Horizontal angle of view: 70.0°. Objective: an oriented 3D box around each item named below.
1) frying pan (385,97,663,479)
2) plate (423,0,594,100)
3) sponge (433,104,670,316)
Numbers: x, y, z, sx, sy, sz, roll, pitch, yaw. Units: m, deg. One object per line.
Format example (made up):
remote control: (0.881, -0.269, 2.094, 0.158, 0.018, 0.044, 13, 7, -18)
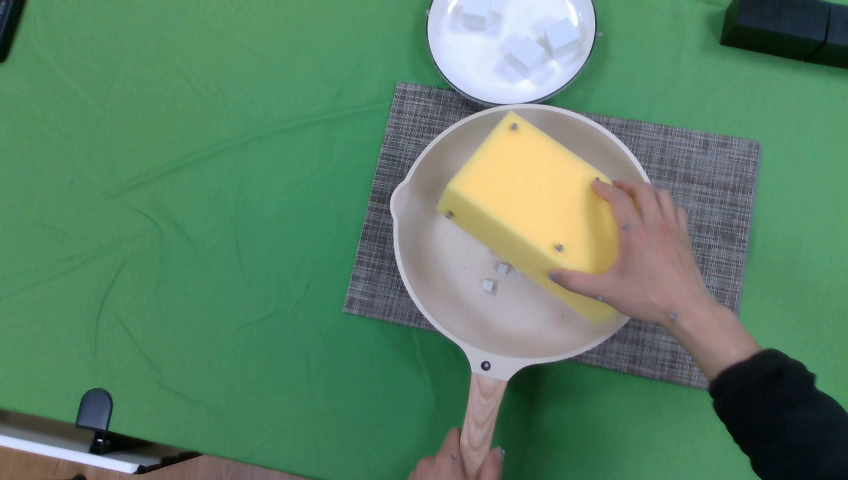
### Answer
frying pan: (0.081, 0.082, 0.663, 0.306, 0.103, 0.485, 14, 74, 7)
plate: (0.103, -0.269, 0.755, 0.207, 0.039, 0.207, -1, 81, 4)
sponge: (0.129, -0.031, 0.624, 0.206, 0.061, 0.118, 35, 67, 4)
